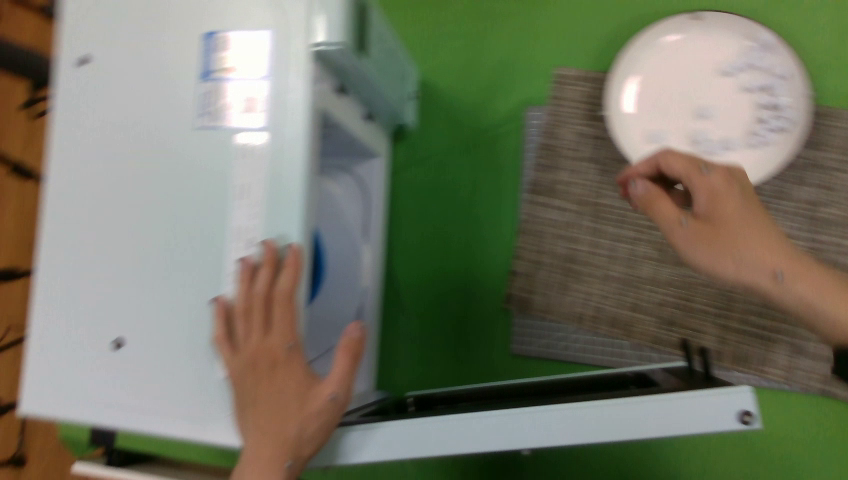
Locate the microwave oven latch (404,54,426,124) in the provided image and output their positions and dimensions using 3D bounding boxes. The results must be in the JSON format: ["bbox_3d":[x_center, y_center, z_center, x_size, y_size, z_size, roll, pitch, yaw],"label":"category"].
[{"bbox_3d":[-0.014,-0.184,0.738,0.030,0.029,0.079,4,85,14],"label":"microwave oven latch"}]

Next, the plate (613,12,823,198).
[{"bbox_3d":[0.317,-0.145,0.667,0.208,0.038,0.208,-2,81,13],"label":"plate"}]

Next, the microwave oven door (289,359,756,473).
[{"bbox_3d":[0.088,0.159,0.567,0.355,0.245,0.039,-10,80,12],"label":"microwave oven door"}]

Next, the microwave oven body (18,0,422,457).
[{"bbox_3d":[-0.196,-0.029,0.664,0.325,0.261,0.440,3,85,14],"label":"microwave oven body"}]

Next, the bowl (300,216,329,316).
[{"bbox_3d":[-0.168,0.027,0.682,0.151,0.077,0.151,-2,83,13],"label":"bowl"}]
